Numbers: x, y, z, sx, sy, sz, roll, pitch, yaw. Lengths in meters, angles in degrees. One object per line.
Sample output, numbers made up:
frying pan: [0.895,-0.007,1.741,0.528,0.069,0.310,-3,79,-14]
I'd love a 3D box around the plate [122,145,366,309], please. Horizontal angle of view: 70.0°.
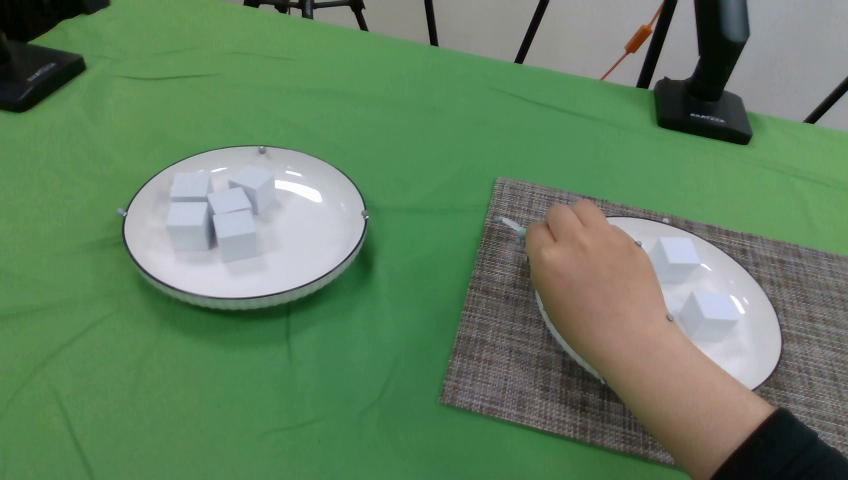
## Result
plate: [-0.158,-0.013,0.553,0.209,0.038,0.207,5,43,-4]

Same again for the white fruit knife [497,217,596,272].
white fruit knife: [0.091,-0.003,0.511,0.027,0.016,0.206,18,7,-11]

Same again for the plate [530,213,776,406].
plate: [0.193,0.057,0.531,0.208,0.039,0.205,5,44,-4]
